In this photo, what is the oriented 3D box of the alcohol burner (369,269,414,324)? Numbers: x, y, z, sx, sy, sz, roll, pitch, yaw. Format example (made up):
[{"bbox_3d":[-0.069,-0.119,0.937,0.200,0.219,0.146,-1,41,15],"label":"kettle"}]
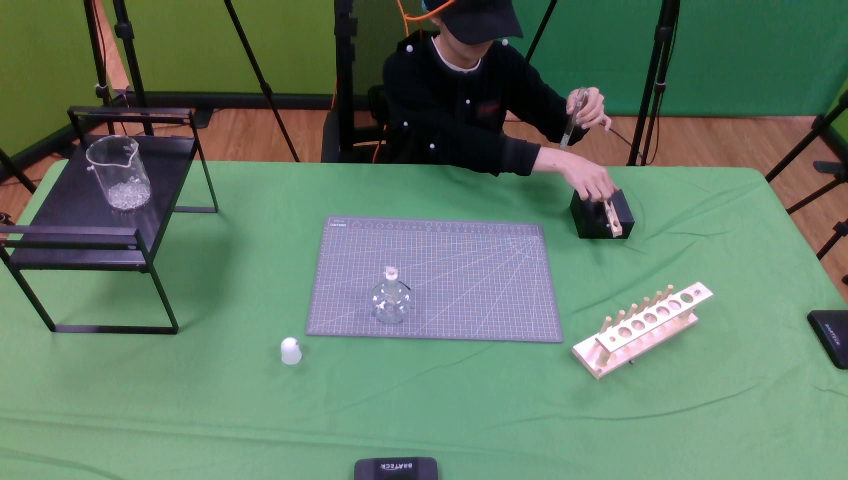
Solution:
[{"bbox_3d":[-0.056,0.089,1.037,0.078,0.120,0.077,1,47,-1],"label":"alcohol burner"}]

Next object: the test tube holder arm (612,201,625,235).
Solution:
[{"bbox_3d":[0.380,-0.045,1.197,0.010,0.015,0.087,-4,45,1],"label":"test tube holder arm"}]

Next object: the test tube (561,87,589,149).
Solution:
[{"bbox_3d":[0.308,-0.247,1.243,0.017,0.151,0.017,4,48,-4],"label":"test tube"}]

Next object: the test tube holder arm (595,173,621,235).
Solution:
[{"bbox_3d":[0.372,-0.076,1.229,0.013,0.015,0.177,-5,45,0],"label":"test tube holder arm"}]

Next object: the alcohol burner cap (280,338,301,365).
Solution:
[{"bbox_3d":[-0.220,0.179,0.993,0.034,0.048,0.033,2,46,-2],"label":"alcohol burner cap"}]

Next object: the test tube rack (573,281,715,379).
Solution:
[{"bbox_3d":[0.378,0.140,1.038,0.242,0.085,0.066,-22,51,-23],"label":"test tube rack"}]

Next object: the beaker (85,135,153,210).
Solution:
[{"bbox_3d":[-0.475,-0.102,0.957,0.083,0.101,0.074,34,53,26],"label":"beaker"}]
